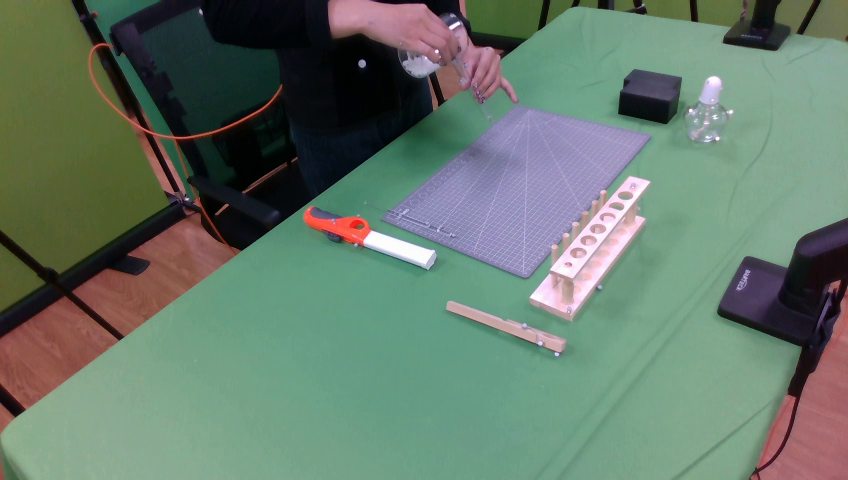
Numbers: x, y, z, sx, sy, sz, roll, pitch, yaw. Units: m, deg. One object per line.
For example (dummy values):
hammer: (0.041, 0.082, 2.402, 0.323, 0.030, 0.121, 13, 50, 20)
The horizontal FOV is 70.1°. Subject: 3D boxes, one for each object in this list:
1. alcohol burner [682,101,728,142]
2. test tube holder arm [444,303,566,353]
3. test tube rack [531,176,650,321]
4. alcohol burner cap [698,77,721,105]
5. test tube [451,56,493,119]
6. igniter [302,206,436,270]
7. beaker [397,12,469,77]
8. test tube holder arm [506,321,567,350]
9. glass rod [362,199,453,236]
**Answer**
alcohol burner: (0.513, -0.239, 1.097, 0.078, 0.119, 0.077, -4, 40, 4)
test tube holder arm: (0.106, 0.117, 0.823, 0.177, 0.015, 0.013, 16, 10, 27)
test tube rack: (0.246, 0.002, 0.884, 0.066, 0.085, 0.243, 22, 49, 32)
alcohol burner cap: (0.509, -0.266, 1.072, 0.034, 0.048, 0.033, -4, 48, 5)
test tube: (0.088, -0.269, 1.083, 0.017, 0.151, 0.017, -18, 50, 23)
igniter: (-0.101, -0.007, 1.004, 0.274, 0.025, 0.057, 20, 58, 29)
beaker: (0.013, -0.313, 0.985, 0.100, 0.084, 0.073, -37, 44, -28)
test tube holder arm: (0.148, 0.128, 0.808, 0.087, 0.015, 0.010, 16, 10, 28)
glass rod: (-0.032, -0.041, 1.041, 0.198, 0.008, 0.008, 22, 50, 31)
